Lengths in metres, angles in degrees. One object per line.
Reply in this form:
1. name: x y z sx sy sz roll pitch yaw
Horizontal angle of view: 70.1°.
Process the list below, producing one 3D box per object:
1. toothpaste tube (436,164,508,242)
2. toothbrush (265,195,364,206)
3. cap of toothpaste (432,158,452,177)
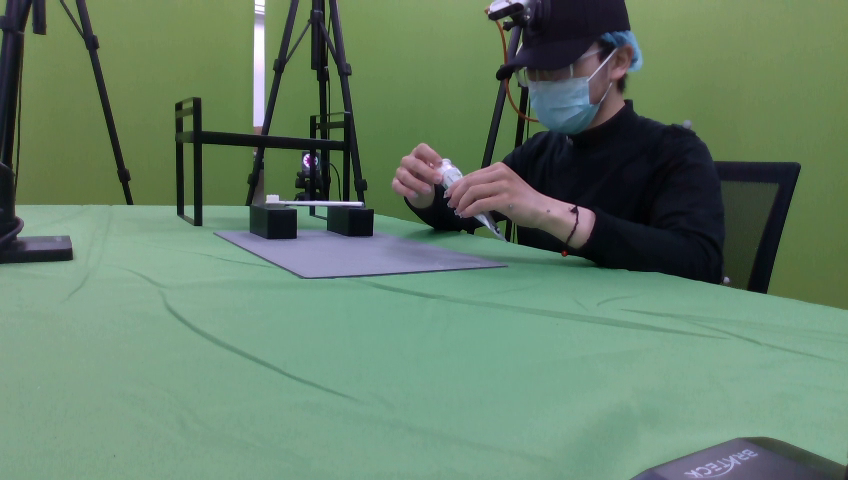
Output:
1. toothpaste tube: 0.068 -0.060 0.896 0.055 0.034 0.164 25 22 -52
2. toothbrush: -0.194 -0.069 1.089 0.183 0.016 0.014 0 -8 -27
3. cap of toothpaste: 0.030 -0.111 0.943 0.037 0.037 0.011 -5 43 -43
